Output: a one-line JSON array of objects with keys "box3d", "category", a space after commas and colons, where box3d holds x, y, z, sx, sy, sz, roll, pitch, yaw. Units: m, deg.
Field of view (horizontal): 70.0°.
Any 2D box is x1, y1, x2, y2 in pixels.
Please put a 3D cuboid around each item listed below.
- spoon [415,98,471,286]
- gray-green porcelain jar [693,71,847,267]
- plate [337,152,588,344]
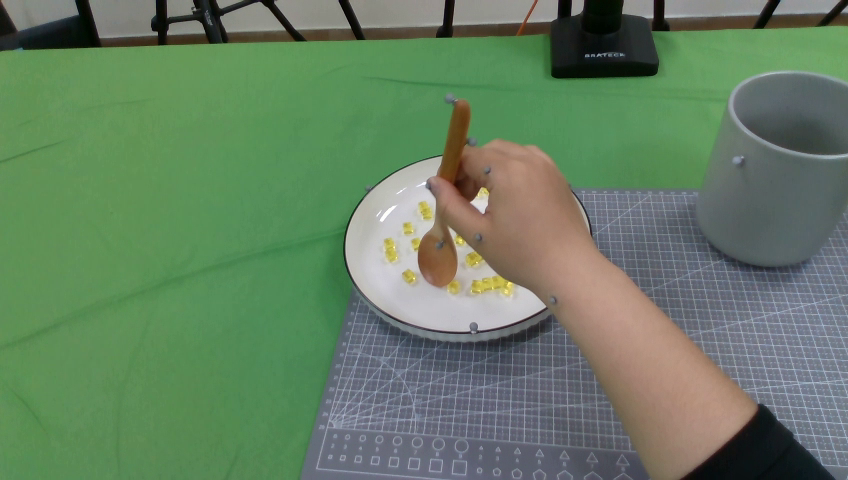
[{"box3d": [0.014, -0.024, 0.431, 0.021, 0.195, 0.041, -38, 67, -24], "category": "spoon"}, {"box3d": [0.276, -0.050, 0.477, 0.106, 0.128, 0.105, -4, 48, 4], "category": "gray-green porcelain jar"}, {"box3d": [0.032, 0.005, 0.518, 0.207, 0.039, 0.205, -3, 48, 4], "category": "plate"}]
